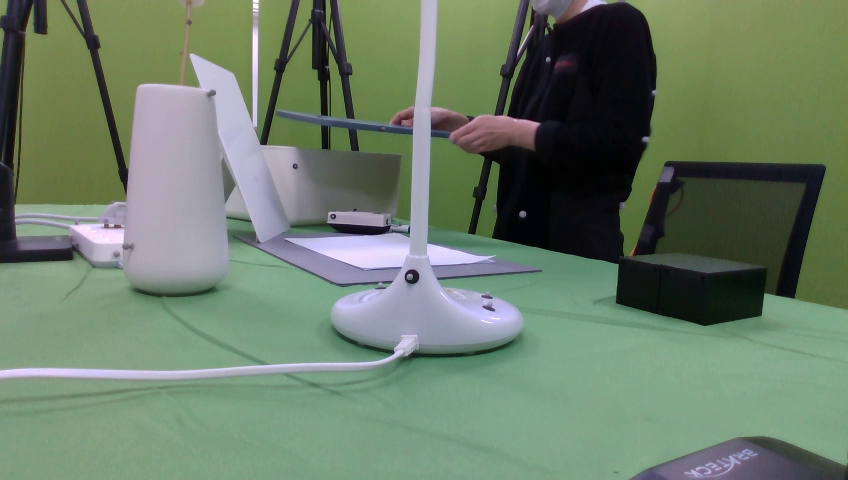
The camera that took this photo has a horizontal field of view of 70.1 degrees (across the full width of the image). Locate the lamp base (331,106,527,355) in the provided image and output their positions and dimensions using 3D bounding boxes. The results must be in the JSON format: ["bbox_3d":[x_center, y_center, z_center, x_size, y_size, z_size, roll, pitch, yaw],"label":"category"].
[{"bbox_3d":[0.006,-0.012,0.478,0.161,0.180,0.179,2,10,2],"label":"lamp base"}]

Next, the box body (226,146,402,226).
[{"bbox_3d":[-0.254,-0.128,1.379,0.253,0.160,0.366,8,9,36],"label":"box body"}]

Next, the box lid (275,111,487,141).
[{"bbox_3d":[-0.083,-0.226,1.209,0.374,0.015,0.262,-2,14,-38],"label":"box lid"}]

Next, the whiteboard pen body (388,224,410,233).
[{"bbox_3d":[-0.088,-0.026,1.214,0.140,0.017,0.017,5,8,19],"label":"whiteboard pen body"}]

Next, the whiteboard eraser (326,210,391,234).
[{"bbox_3d":[-0.121,-0.034,1.131,0.112,0.042,0.056,5,9,13],"label":"whiteboard eraser"}]

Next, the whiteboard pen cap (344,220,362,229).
[{"bbox_3d":[-0.144,-0.031,1.231,0.033,0.018,0.018,7,9,17],"label":"whiteboard pen cap"}]

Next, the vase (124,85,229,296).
[{"bbox_3d":[-0.244,-0.047,0.598,0.098,0.200,0.098,3,8,0],"label":"vase"}]

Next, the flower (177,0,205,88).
[{"bbox_3d":[-0.243,-0.131,0.609,0.044,0.361,0.038,-5,-12,11],"label":"flower"}]

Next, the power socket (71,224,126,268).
[{"bbox_3d":[-0.409,0.004,0.793,0.072,0.032,0.225,-2,8,-37],"label":"power socket"}]

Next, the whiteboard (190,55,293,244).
[{"bbox_3d":[-0.362,-0.129,1.029,0.144,0.305,0.217,-18,7,3],"label":"whiteboard"}]

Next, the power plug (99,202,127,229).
[{"bbox_3d":[-0.415,-0.026,0.848,0.073,0.052,0.035,6,5,-27],"label":"power plug"}]
